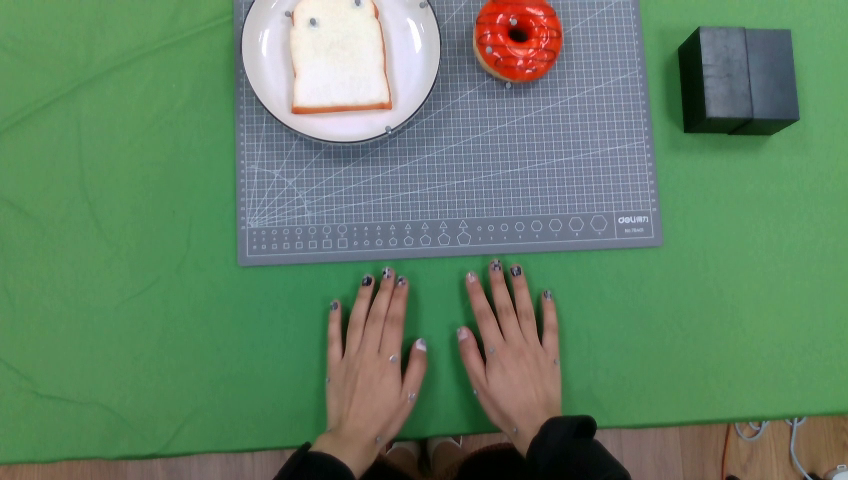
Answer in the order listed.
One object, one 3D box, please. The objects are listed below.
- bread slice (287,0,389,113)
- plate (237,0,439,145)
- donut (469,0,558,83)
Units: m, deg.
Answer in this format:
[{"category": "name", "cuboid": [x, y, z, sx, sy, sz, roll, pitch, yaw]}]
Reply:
[{"category": "bread slice", "cuboid": [-0.096, -0.202, 0.645, 0.105, 0.019, 0.131, -6, 83, -5]}, {"category": "plate", "cuboid": [-0.089, -0.198, 0.643, 0.209, 0.038, 0.208, 1, 83, -3]}, {"category": "donut", "cuboid": [0.096, -0.216, 0.652, 0.099, 0.048, 0.099, 1, 83, -5]}]
